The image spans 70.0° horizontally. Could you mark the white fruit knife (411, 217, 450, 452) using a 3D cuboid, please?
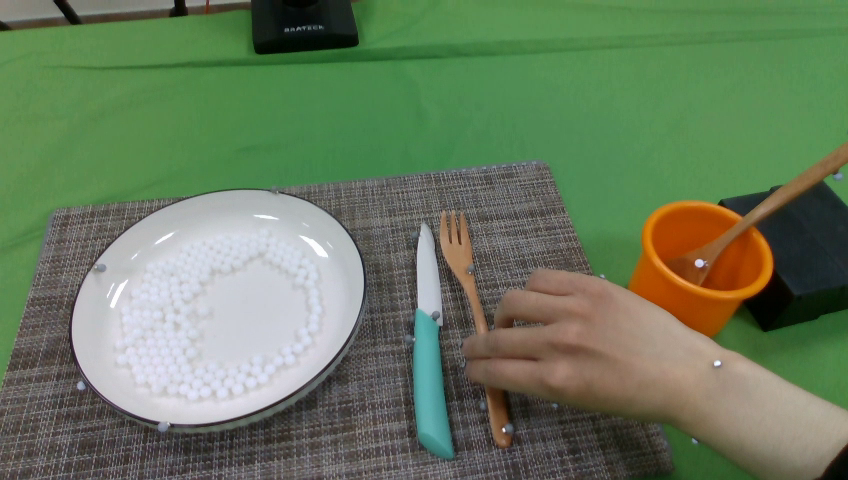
[{"bbox_3d":[0.002,0.058,0.463,0.027,0.016,0.205,21,43,-25],"label":"white fruit knife"}]

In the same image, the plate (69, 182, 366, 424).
[{"bbox_3d":[-0.146,0.041,0.454,0.209,0.038,0.207,1,50,-1],"label":"plate"}]

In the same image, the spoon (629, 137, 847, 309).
[{"bbox_3d":[0.236,-0.012,0.447,0.022,0.194,0.041,24,32,-43],"label":"spoon"}]

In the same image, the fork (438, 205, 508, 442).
[{"bbox_3d":[0.037,0.053,0.465,0.028,0.019,0.205,6,48,-21],"label":"fork"}]
